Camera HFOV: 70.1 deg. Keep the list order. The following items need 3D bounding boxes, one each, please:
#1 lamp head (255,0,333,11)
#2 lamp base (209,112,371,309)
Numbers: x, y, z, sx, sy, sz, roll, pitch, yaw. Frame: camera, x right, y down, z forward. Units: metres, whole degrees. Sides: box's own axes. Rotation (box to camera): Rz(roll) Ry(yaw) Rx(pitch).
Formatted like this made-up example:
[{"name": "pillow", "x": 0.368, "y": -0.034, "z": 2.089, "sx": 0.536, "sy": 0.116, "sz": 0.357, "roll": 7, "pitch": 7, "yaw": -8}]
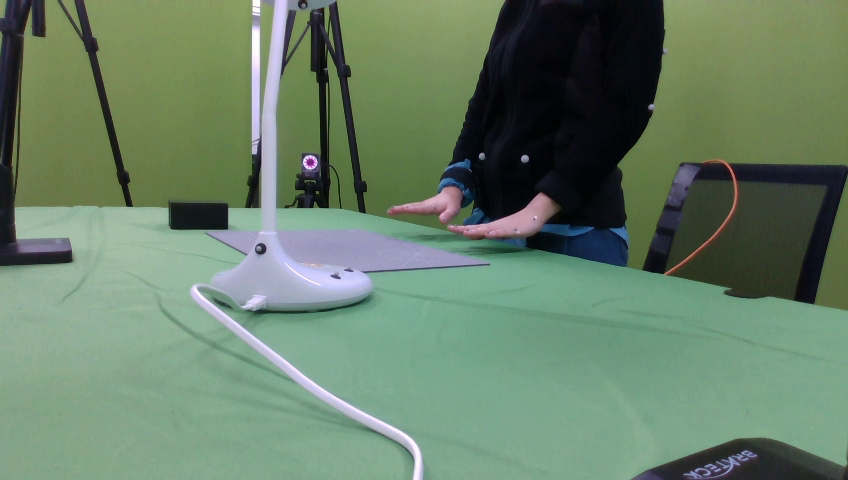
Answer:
[{"name": "lamp head", "x": -0.141, "y": -0.318, "z": 0.630, "sx": 0.113, "sy": 0.112, "sz": 0.123, "roll": 1, "pitch": -32, "yaw": -9}, {"name": "lamp base", "x": -0.133, "y": -0.032, "z": 0.594, "sx": 0.160, "sy": 0.180, "sz": 0.179, "roll": 2, "pitch": 10, "yaw": 3}]
